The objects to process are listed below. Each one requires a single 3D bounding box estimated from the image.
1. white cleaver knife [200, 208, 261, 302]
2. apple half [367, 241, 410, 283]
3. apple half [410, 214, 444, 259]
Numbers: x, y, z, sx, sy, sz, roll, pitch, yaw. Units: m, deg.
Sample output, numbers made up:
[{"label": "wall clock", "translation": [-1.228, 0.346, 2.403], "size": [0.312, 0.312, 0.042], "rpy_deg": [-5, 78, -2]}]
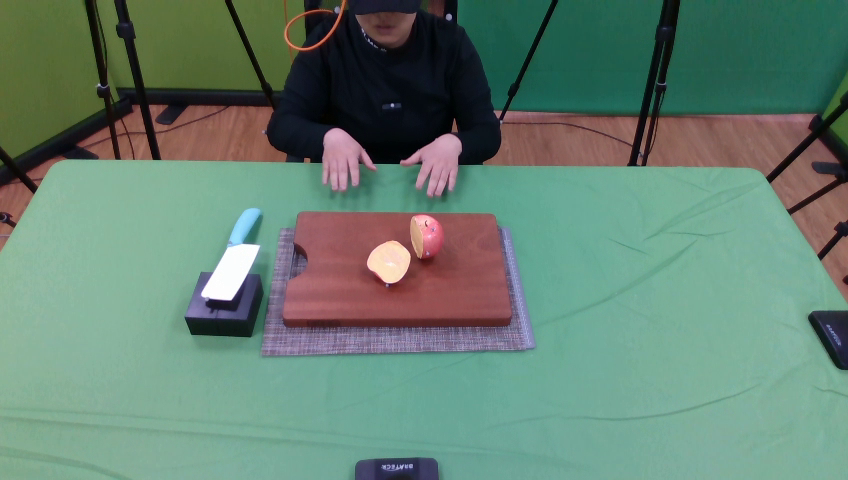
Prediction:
[{"label": "white cleaver knife", "translation": [-0.338, 0.024, 1.116], "size": [0.066, 0.021, 0.285], "rpy_deg": [6, 35, -3]}, {"label": "apple half", "translation": [-0.059, 0.043, 1.100], "size": [0.081, 0.033, 0.081], "rpy_deg": [-3, 67, 7]}, {"label": "apple half", "translation": [0.009, -0.007, 1.131], "size": [0.053, 0.075, 0.080], "rpy_deg": [-8, 43, -17]}]
